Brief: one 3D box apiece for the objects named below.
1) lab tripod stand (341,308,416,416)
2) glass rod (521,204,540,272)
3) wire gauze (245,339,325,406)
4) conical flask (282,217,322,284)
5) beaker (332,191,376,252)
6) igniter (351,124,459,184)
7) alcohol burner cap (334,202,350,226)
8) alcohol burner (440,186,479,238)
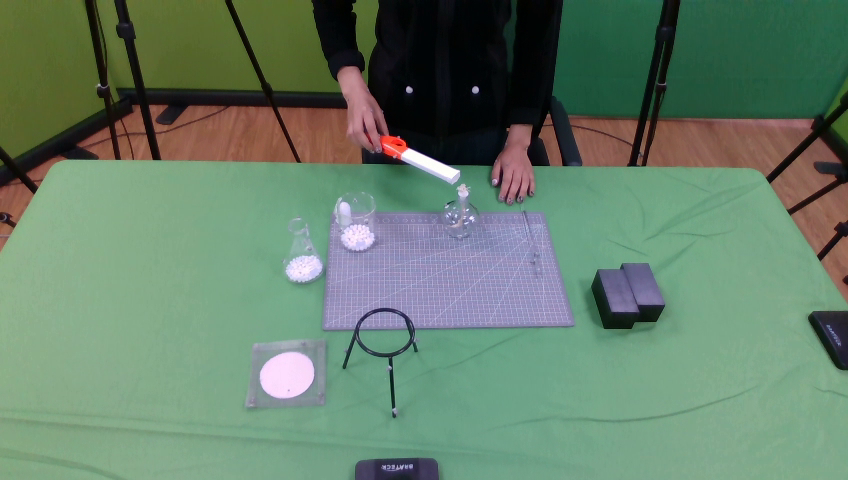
[{"bbox_3d":[-0.061,0.177,0.946,0.148,0.132,0.147,2,44,-2],"label":"lab tripod stand"},{"bbox_3d":[0.215,-0.008,1.230,0.008,0.008,0.198,0,43,-3],"label":"glass rod"},{"bbox_3d":[-0.224,0.214,0.984,0.125,0.011,0.120,-2,46,-5],"label":"wire gauze"},{"bbox_3d":[-0.225,0.016,1.097,0.075,0.122,0.075,2,46,-2],"label":"conical flask"},{"bbox_3d":[-0.133,-0.032,1.163,0.084,0.101,0.073,-19,50,-20],"label":"beaker"},{"bbox_3d":[-0.047,-0.178,1.224,0.275,0.025,0.057,28,53,28],"label":"igniter"},{"bbox_3d":[-0.166,-0.055,1.222,0.034,0.048,0.033,2,46,-2],"label":"alcohol burner cap"},{"bbox_3d":[0.072,-0.062,1.198,0.078,0.119,0.077,3,47,-3],"label":"alcohol burner"}]
